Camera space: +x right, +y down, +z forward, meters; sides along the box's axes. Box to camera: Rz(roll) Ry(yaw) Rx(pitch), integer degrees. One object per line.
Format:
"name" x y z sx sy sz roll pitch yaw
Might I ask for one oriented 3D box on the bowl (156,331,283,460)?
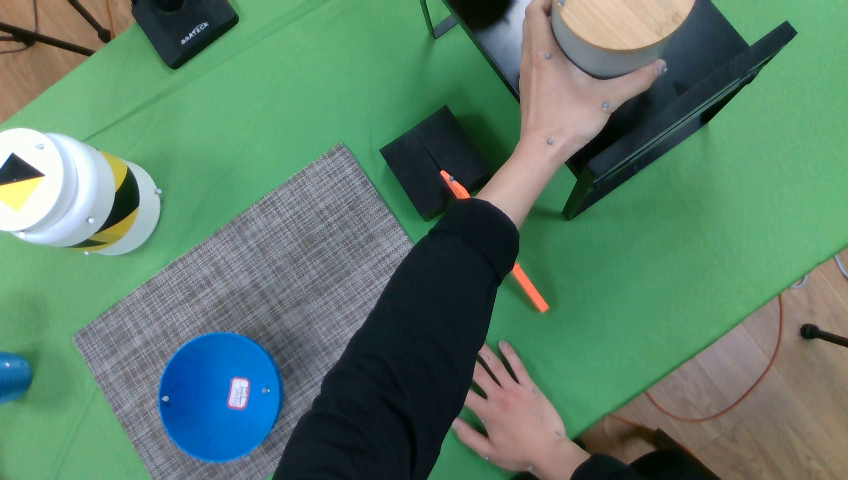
"bowl" -0.237 0.185 0.744 0.151 0.077 0.151 -1 84 7

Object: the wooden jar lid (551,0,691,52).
"wooden jar lid" 0.152 -0.197 0.471 0.108 0.021 0.108 -1 85 10

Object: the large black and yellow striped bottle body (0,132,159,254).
"large black and yellow striped bottle body" -0.433 -0.055 0.744 0.130 0.184 0.130 -1 83 7

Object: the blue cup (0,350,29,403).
"blue cup" -0.570 0.178 0.777 0.092 0.100 0.092 -1 84 5

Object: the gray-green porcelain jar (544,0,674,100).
"gray-green porcelain jar" 0.160 -0.189 0.533 0.106 0.127 0.105 -1 83 8

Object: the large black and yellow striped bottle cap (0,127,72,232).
"large black and yellow striped bottle cap" -0.443 -0.067 0.661 0.115 0.019 0.114 -1 85 7

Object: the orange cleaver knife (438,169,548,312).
"orange cleaver knife" 0.083 0.001 0.726 0.012 0.076 0.213 -38 110 -2
